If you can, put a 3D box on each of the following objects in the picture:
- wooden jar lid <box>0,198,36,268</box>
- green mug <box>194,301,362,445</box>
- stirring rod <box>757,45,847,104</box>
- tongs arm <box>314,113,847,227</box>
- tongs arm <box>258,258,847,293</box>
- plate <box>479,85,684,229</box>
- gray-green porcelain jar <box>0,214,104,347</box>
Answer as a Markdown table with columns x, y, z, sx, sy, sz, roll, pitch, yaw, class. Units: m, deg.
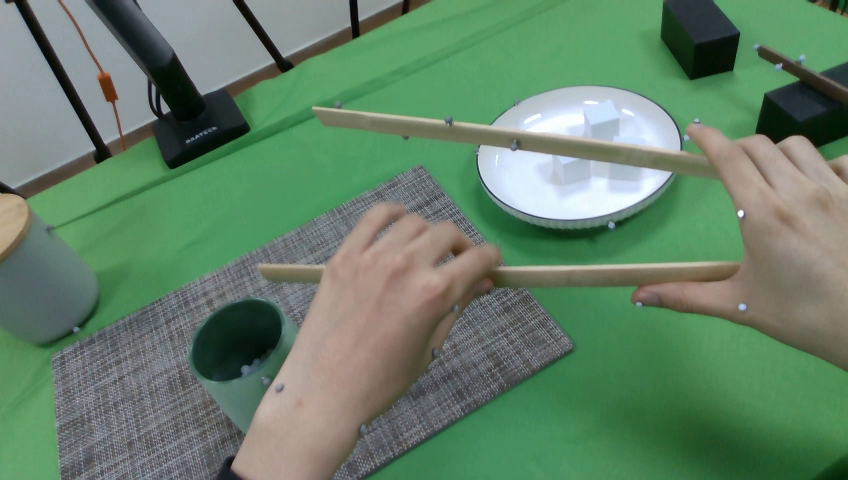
| x | y | z | sx | sy | sz | roll | pitch | yaw | class |
| --- | --- | --- | --- | --- | --- | --- | --- | --- | --- |
| -0.431 | 0.004 | 0.594 | 0.108 | 0.021 | 0.107 | -7 | 51 | 9 | wooden jar lid |
| -0.115 | 0.109 | 0.508 | 0.125 | 0.106 | 0.091 | -11 | 48 | 6 | green mug |
| 0.386 | -0.146 | 0.575 | 0.006 | 0.014 | 0.174 | -25 | 47 | -10 | stirring rod |
| 0.089 | -0.049 | 0.427 | 0.383 | 0.027 | 0.050 | 9 | 64 | 18 | tongs arm |
| 0.073 | 0.019 | 0.396 | 0.387 | 0.028 | 0.028 | -2 | 57 | 13 | tongs arm |
| 0.164 | -0.087 | 0.644 | 0.207 | 0.039 | 0.205 | -8 | 49 | 10 | plate |
| -0.416 | 0.044 | 0.640 | 0.106 | 0.128 | 0.105 | -8 | 49 | 9 | gray-green porcelain jar |
